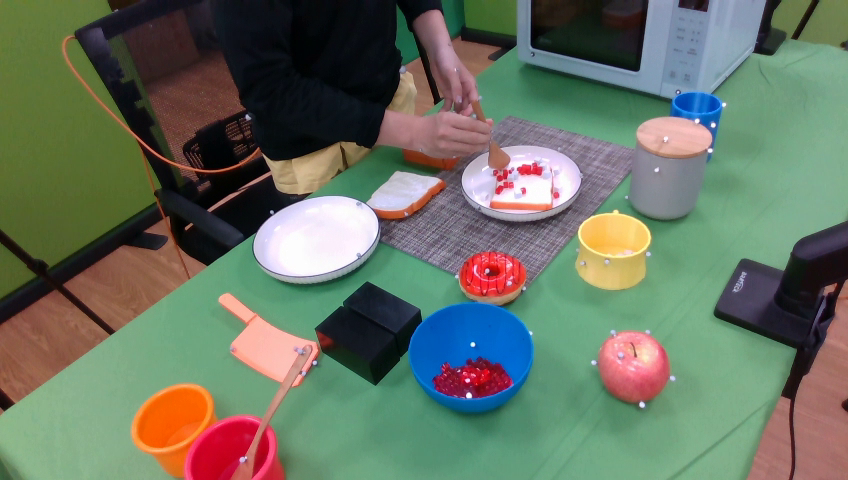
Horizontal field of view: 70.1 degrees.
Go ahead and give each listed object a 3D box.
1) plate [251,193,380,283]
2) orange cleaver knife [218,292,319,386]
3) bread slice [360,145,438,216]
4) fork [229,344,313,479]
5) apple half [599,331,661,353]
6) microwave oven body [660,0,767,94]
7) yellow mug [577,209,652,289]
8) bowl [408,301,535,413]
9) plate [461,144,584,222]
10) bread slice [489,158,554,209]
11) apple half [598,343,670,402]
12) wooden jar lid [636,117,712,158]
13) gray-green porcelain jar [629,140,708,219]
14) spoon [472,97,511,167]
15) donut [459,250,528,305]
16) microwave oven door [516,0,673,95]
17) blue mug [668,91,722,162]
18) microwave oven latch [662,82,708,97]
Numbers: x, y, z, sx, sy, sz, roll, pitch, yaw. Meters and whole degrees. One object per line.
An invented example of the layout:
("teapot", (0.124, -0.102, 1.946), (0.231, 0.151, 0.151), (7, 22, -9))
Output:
("plate", (-0.173, -0.001, 0.984), (0.209, 0.038, 0.208), (-4, 40, 4))
("orange cleaver knife", (-0.235, 0.136, 0.850), (0.209, 0.012, 0.077), (25, 56, 30))
("bread slice", (-0.053, -0.103, 1.046), (0.106, 0.018, 0.134), (19, 67, 22))
("fork", (-0.173, 0.205, 0.662), (0.028, 0.019, 0.207), (29, 94, 36))
("apple half", (0.249, 0.134, 0.738), (0.081, 0.081, 0.032), (-1, 46, 7))
("microwave oven body", (0.473, -0.516, 1.313), (0.438, 0.261, 0.327), (26, 51, 34))
("yellow mug", (0.279, 0.005, 0.893), (0.099, 0.064, 0.130), (5, 41, 15))
("bowl", (0.060, 0.156, 0.739), (0.151, 0.077, 0.150), (-4, 40, 4))
("plate", (0.167, -0.095, 1.040), (0.207, 0.039, 0.206), (-4, 41, 4))
("bread slice", (0.172, -0.100, 1.047), (0.104, 0.019, 0.131), (3, 42, 12))
("apple half", (0.247, 0.161, 0.710), (0.081, 0.075, 0.053), (2, 47, 5))
("wooden jar lid", (0.377, -0.151, 0.917), (0.108, 0.021, 0.108), (-2, 42, 2))
("gray-green porcelain jar", (0.383, -0.105, 0.958), (0.106, 0.127, 0.105), (-4, 41, 4))
("spoon", (0.105, -0.171, 0.980), (0.041, 0.195, 0.021), (-18, 58, 13))
("donut", (0.100, 0.053, 0.873), (0.099, 0.048, 0.098), (-5, 40, 4))
("microwave oven door", (0.344, -0.458, 1.257), (0.353, 0.245, 0.039), (26, 52, 33))
("blue mug", (0.474, -0.207, 1.078), (0.082, 0.106, 0.116), (4, 42, 13))
("microwave oven latch", (0.518, -0.298, 1.202), (0.078, 0.029, 0.030), (28, 53, 35))
